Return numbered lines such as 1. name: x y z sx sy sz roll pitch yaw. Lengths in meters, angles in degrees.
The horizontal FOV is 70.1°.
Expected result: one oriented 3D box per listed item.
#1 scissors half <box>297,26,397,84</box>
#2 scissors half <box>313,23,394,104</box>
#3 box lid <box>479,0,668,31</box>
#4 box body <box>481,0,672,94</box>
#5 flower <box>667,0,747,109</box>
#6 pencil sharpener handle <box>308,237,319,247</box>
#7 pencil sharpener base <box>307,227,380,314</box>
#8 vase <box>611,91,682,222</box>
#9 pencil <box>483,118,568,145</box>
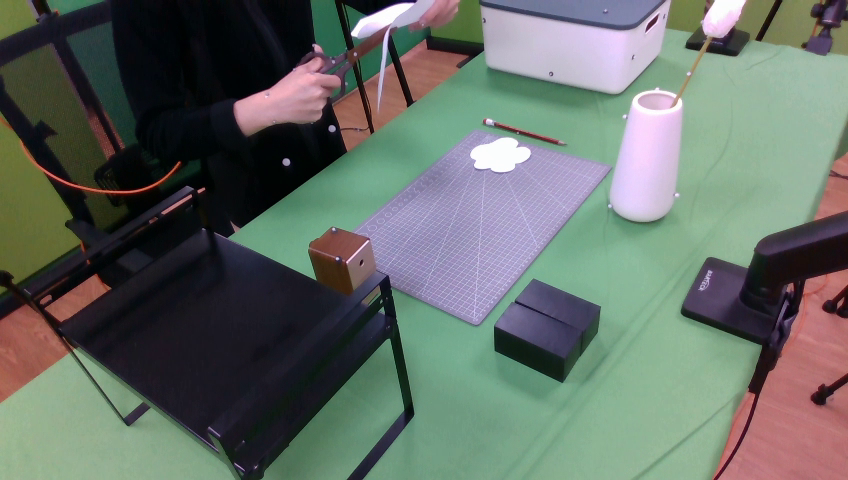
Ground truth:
1. scissors half: -0.119 -0.284 0.917 0.175 0.040 0.013 -19 32 15
2. scissors half: -0.106 -0.269 0.925 0.175 0.040 0.012 -41 19 25
3. box lid: 0.335 -0.536 1.331 0.368 0.015 0.264 23 49 30
4. box body: 0.341 -0.480 1.381 0.361 0.161 0.255 22 48 30
5. flower: 0.354 -0.187 0.879 0.038 0.362 0.044 31 48 14
6. pencil sharpener handle: -0.159 0.017 0.892 0.030 0.068 0.036 18 60 28
7. pencil sharpener base: -0.116 0.043 0.875 0.076 0.107 0.061 18 47 27
8. vase: 0.348 -0.125 0.935 0.098 0.201 0.097 -3 40 3
9. pencil: 0.202 -0.217 1.212 0.192 0.012 0.012 24 49 29
